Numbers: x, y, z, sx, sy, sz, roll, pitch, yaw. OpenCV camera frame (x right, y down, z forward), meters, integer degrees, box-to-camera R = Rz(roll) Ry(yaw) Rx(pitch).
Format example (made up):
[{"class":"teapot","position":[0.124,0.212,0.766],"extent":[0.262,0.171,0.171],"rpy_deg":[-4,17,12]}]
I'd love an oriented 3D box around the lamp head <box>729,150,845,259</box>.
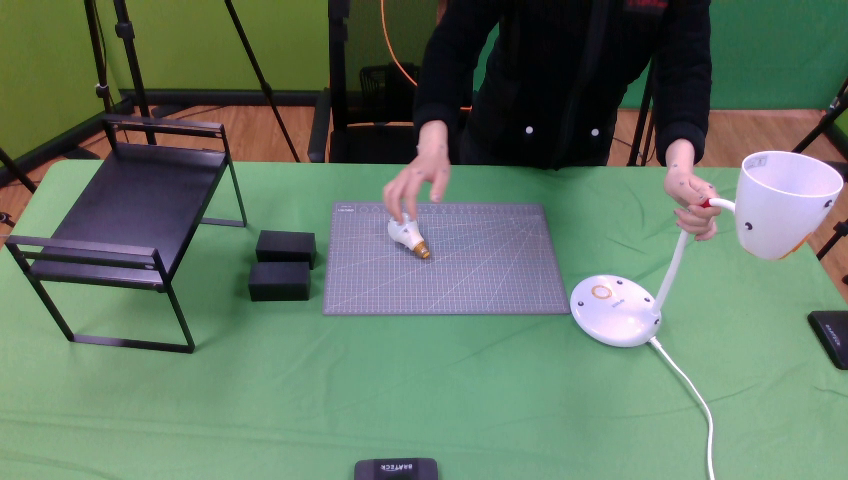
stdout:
[{"class":"lamp head","position":[0.438,-0.039,0.757],"extent":[0.112,0.123,0.111],"rpy_deg":[1,41,0]}]

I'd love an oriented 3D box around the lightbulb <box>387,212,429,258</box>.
[{"class":"lightbulb","position":[-0.027,-0.007,1.179],"extent":[0.059,0.060,0.107],"rpy_deg":[-31,71,-29]}]

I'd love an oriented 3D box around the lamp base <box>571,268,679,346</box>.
[{"class":"lamp base","position":[0.360,0.078,1.037],"extent":[0.160,0.181,0.178],"rpy_deg":[-35,59,-31]}]
